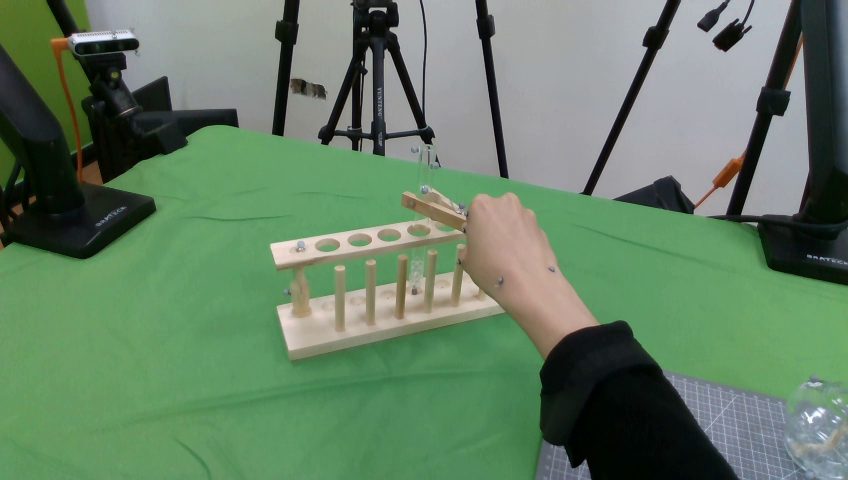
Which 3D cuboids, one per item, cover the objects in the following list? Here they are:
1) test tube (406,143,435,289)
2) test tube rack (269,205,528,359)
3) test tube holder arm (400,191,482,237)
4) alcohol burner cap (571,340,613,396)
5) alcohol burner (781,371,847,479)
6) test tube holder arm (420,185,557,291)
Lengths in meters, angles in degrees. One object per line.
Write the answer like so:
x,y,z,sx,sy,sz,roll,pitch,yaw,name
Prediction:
-0.004,-0.019,0.573,0.017,0.151,0.017,4,28,-2,test tube
-0.017,0.035,0.580,0.243,0.086,0.066,-10,36,-19,test tube rack
0.015,-0.024,0.544,0.087,0.015,0.010,23,34,27,test tube holder arm
0.147,0.107,0.522,0.034,0.048,0.033,3,36,-1,alcohol burner cap
0.316,0.123,0.449,0.078,0.120,0.077,3,36,-2,alcohol burner
0.049,-0.007,0.521,0.013,0.015,0.176,-17,37,-32,test tube holder arm
